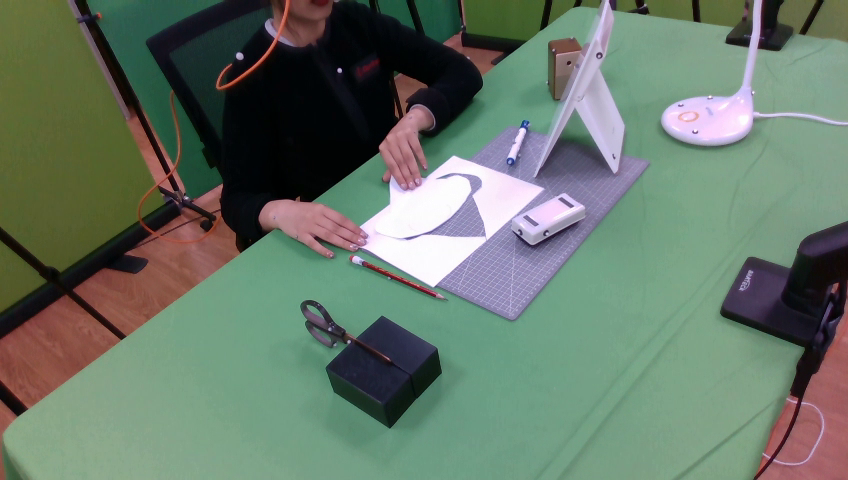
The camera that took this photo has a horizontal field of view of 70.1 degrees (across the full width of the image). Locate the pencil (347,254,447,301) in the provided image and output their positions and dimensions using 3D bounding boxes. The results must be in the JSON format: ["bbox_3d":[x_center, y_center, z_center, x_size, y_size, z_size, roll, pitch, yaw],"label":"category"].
[{"bbox_3d":[-0.044,0.058,0.933,0.192,0.012,0.012,22,49,29],"label":"pencil"}]

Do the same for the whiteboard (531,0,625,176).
[{"bbox_3d":[0.320,-0.258,1.050,0.144,0.306,0.217,22,45,5],"label":"whiteboard"}]

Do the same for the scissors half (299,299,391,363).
[{"bbox_3d":[-0.107,0.120,0.794,0.174,0.040,0.013,26,45,33],"label":"scissors half"}]

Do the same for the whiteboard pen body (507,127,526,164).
[{"bbox_3d":[0.181,-0.189,1.162,0.017,0.017,0.140,8,42,19],"label":"whiteboard pen body"}]

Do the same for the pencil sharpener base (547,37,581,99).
[{"bbox_3d":[0.299,-0.368,1.290,0.061,0.107,0.076,-8,40,2],"label":"pencil sharpener base"}]

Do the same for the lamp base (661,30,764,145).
[{"bbox_3d":[0.535,-0.287,1.096,0.179,0.181,0.159,-10,40,-4],"label":"lamp base"}]

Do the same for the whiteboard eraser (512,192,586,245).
[{"bbox_3d":[0.199,-0.032,0.962,0.113,0.042,0.055,-27,43,-20],"label":"whiteboard eraser"}]

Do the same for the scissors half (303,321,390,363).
[{"bbox_3d":[-0.105,0.138,0.803,0.174,0.040,0.013,8,28,44],"label":"scissors half"}]

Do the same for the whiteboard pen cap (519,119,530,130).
[{"bbox_3d":[0.199,-0.226,1.204,0.018,0.018,0.033,7,41,18],"label":"whiteboard pen cap"}]

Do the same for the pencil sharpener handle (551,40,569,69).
[{"bbox_3d":[0.291,-0.409,1.320,0.036,0.068,0.030,2,40,-6],"label":"pencil sharpener handle"}]
